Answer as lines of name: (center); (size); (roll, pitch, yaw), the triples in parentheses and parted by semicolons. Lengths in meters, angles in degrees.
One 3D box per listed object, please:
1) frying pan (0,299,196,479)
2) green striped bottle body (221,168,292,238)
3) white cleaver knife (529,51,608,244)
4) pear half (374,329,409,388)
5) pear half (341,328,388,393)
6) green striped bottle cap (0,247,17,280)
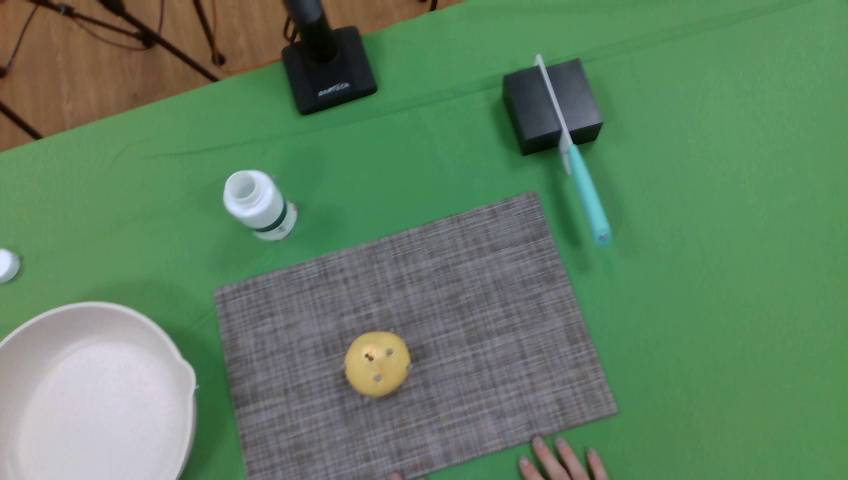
frying pan: (-0.375, 0.306, 0.690); (0.307, 0.103, 0.483); (-22, 65, -2)
green striped bottle body: (-0.216, -0.049, 0.776); (0.063, 0.120, 0.063); (-1, 72, 4)
white cleaver knife: (0.185, -0.126, 0.797); (0.021, 0.066, 0.284); (-17, 71, 6)
pear half: (-0.035, 0.137, 0.719); (0.031, 0.088, 0.070); (-13, 68, 2)
pear half: (-0.071, 0.141, 0.710); (0.056, 0.110, 0.075); (-13, 68, 1)
green striped bottle cap: (-0.585, 0.032, 0.831); (0.044, 0.020, 0.044); (-1, 73, 5)
